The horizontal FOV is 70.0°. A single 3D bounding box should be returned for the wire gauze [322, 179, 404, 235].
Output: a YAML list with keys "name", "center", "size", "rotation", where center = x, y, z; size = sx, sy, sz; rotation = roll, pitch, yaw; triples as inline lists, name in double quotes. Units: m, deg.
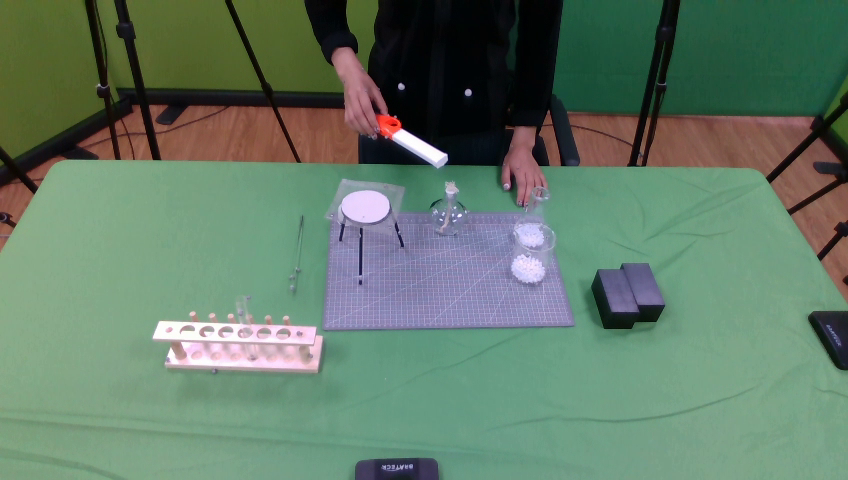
- name: "wire gauze"
  center: [-0.106, -0.064, 1.078]
  size: [0.125, 0.011, 0.121]
  rotation: [11, 45, 5]

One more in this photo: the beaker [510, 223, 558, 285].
- name: "beaker"
  center: [0.199, 0.027, 1.132]
  size: [0.083, 0.101, 0.074]
  rotation: [26, 50, 21]

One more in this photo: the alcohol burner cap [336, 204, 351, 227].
- name: "alcohol burner cap"
  center: [-0.162, -0.053, 1.221]
  size: [0.034, 0.048, 0.033]
  rotation: [2, 46, -2]

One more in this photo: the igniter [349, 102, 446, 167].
- name: "igniter"
  center: [-0.060, -0.214, 1.199]
  size: [0.057, 0.025, 0.275]
  rotation: [-36, 52, -25]

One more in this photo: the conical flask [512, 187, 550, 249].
- name: "conical flask"
  center: [0.217, -0.048, 1.190]
  size: [0.075, 0.122, 0.075]
  rotation: [2, 46, -2]

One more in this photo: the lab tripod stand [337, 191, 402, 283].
- name: "lab tripod stand"
  center: [-0.106, -0.016, 1.125]
  size: [0.148, 0.132, 0.147]
  rotation: [3, 44, -2]

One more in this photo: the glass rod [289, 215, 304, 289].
- name: "glass rod"
  center: [-0.246, 0.019, 1.171]
  size: [0.008, 0.008, 0.198]
  rotation: [1, 43, -3]

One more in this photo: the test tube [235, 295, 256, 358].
- name: "test tube"
  center: [-0.274, 0.136, 0.933]
  size: [0.017, 0.151, 0.017]
  rotation: [4, 45, -4]

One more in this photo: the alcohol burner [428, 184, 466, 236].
- name: "alcohol burner"
  center: [0.047, -0.066, 1.200]
  size: [0.078, 0.119, 0.077]
  rotation: [4, 45, -3]

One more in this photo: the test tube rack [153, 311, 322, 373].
- name: "test tube rack"
  center: [-0.293, 0.160, 0.978]
  size: [0.242, 0.085, 0.066]
  rotation: [3, 46, -2]
